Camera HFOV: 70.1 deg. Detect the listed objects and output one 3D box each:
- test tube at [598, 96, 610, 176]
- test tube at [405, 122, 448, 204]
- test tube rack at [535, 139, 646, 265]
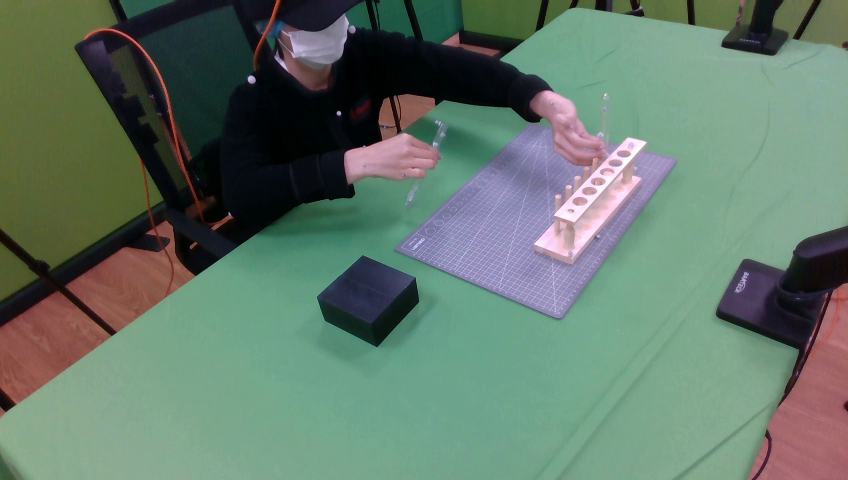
[{"bbox_3d":[0.289,-0.162,0.975,0.017,0.151,0.017,-6,39,6],"label":"test tube"},{"bbox_3d":[0.003,-0.127,1.009,0.017,0.150,0.017,23,18,-8],"label":"test tube"},{"bbox_3d":[0.268,-0.071,0.964,0.066,0.085,0.243,23,49,33],"label":"test tube rack"}]
